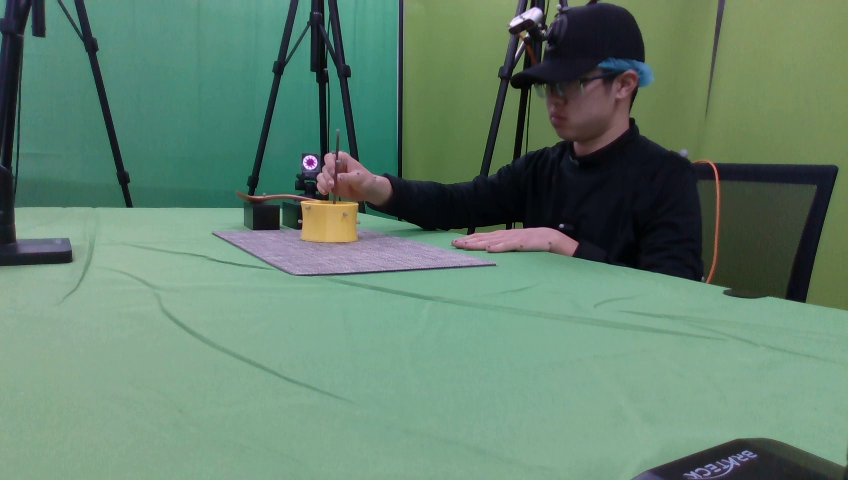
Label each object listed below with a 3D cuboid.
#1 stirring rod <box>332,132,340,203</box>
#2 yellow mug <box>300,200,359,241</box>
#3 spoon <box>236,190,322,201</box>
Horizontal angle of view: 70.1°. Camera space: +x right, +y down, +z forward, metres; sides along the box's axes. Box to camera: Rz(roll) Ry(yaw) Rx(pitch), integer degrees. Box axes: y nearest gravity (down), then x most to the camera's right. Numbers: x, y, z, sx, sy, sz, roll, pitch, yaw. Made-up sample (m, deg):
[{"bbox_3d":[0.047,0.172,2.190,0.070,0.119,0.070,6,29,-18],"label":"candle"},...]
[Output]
[{"bbox_3d":[-0.151,-0.094,1.028,0.006,0.176,0.014,4,7,-5],"label":"stirring rod"},{"bbox_3d":[-0.156,-0.036,1.060,0.099,0.064,0.131,6,7,27],"label":"yellow mug"},{"bbox_3d":[-0.290,-0.088,1.248,0.195,0.021,0.041,0,6,-32],"label":"spoon"}]
